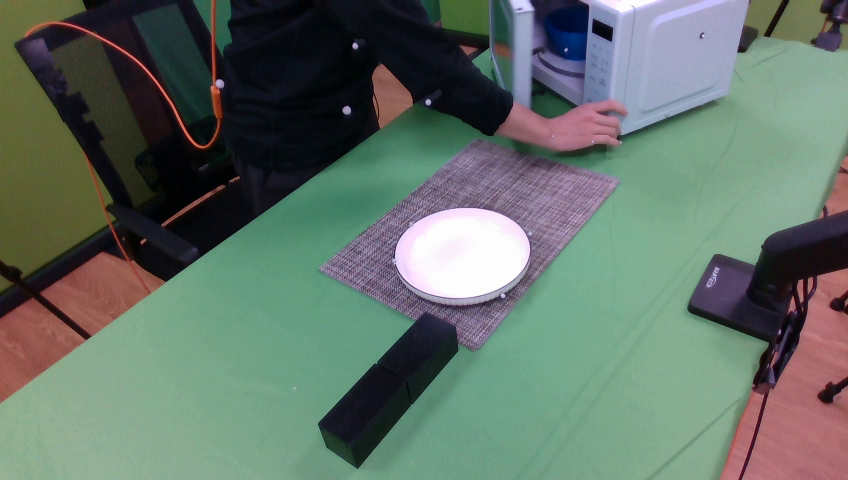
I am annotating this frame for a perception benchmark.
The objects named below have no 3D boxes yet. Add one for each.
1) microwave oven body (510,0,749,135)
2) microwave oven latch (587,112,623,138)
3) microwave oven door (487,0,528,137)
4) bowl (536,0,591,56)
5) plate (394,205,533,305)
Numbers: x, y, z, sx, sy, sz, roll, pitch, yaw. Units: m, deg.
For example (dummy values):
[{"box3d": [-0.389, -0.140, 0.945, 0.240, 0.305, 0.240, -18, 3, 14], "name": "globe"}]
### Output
[{"box3d": [0.382, -0.444, 1.246, 0.327, 0.261, 0.437, -22, 42, -16], "name": "microwave oven body"}, {"box3d": [0.339, -0.222, 1.142, 0.030, 0.029, 0.078, -18, 41, -11], "name": "microwave oven latch"}, {"box3d": [0.164, -0.403, 1.222, 0.039, 0.245, 0.354, -6, 41, 2], "name": "microwave oven door"}, {"box3d": [0.314, -0.446, 1.284, 0.151, 0.077, 0.150, -5, 50, 6], "name": "bowl"}, {"box3d": [0.059, 0.025, 0.915, 0.207, 0.039, 0.206, -4, 41, 4], "name": "plate"}]
